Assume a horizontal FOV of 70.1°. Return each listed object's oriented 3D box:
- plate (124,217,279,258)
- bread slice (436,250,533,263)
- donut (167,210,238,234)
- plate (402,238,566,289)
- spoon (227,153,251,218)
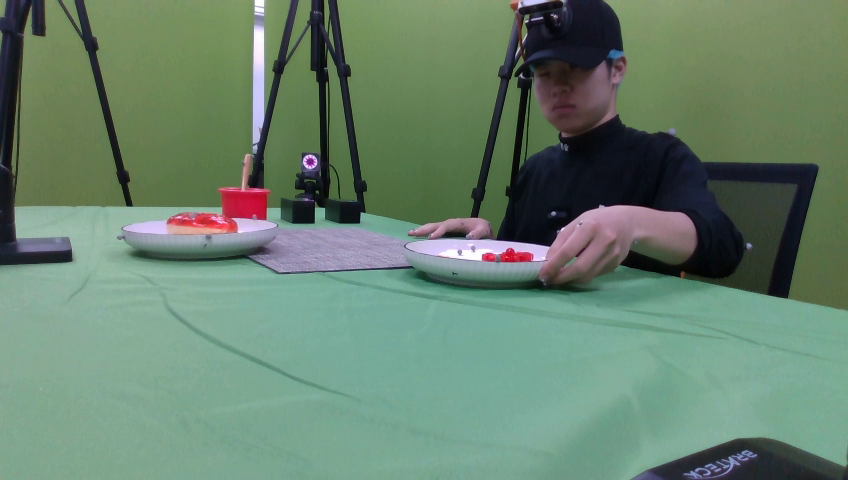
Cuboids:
[{"bbox_3d":[-0.315,-0.004,0.871,0.208,0.039,0.207,1,8,0],"label":"plate"},{"bbox_3d":[0.078,0.031,0.774,0.105,0.019,0.131,-4,11,-44],"label":"bread slice"},{"bbox_3d":[-0.321,-0.017,0.882,0.099,0.048,0.099,3,6,0],"label":"donut"},{"bbox_3d":[0.074,0.029,0.772,0.209,0.038,0.209,3,7,0],"label":"plate"},{"bbox_3d":[-0.363,-0.107,1.211,0.042,0.021,0.193,-1,47,-7],"label":"spoon"}]
